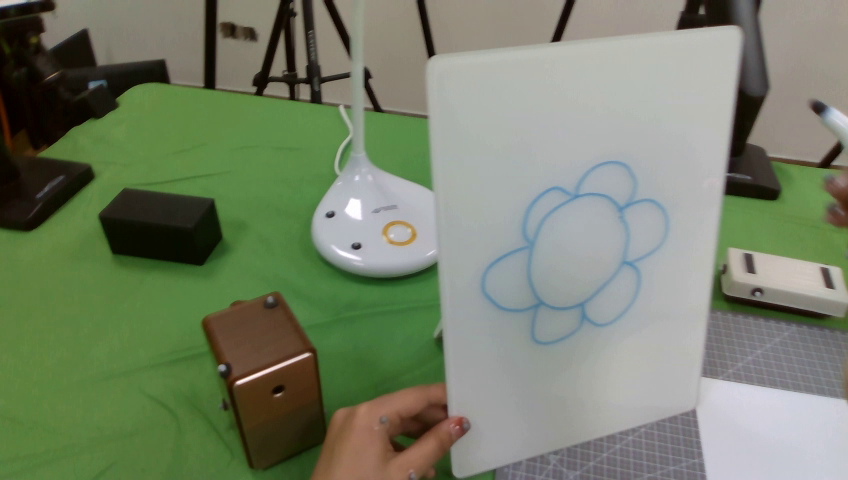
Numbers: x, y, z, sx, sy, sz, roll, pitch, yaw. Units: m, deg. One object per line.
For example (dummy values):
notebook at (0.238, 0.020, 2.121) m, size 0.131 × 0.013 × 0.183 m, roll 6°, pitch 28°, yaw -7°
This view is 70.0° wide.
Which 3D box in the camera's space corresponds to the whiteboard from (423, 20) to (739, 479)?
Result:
whiteboard at (0.096, -0.003, 0.480) m, size 0.218 × 0.307 × 0.142 m, roll -10°, pitch 22°, yaw -14°

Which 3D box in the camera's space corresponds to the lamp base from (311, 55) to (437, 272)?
lamp base at (-0.049, -0.086, 0.627) m, size 0.161 × 0.182 × 0.177 m, roll -24°, pitch 44°, yaw -28°

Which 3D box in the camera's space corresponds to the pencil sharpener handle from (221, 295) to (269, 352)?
pencil sharpener handle at (-0.142, 0.061, 0.482) m, size 0.036 × 0.068 × 0.030 m, roll -27°, pitch 47°, yaw -18°

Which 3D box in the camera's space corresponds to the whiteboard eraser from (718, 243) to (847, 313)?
whiteboard eraser at (0.355, 0.040, 0.604) m, size 0.112 × 0.042 × 0.055 m, roll 10°, pitch 39°, yaw 10°

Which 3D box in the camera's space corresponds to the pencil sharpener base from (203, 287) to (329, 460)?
pencil sharpener base at (-0.118, 0.099, 0.456) m, size 0.061 × 0.108 × 0.076 m, roll -21°, pitch 44°, yaw -24°

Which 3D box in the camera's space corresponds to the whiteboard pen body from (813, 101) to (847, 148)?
whiteboard pen body at (0.192, -0.003, 0.209) m, size 0.017 × 0.017 × 0.139 m, roll -23°, pitch 62°, yaw -27°
